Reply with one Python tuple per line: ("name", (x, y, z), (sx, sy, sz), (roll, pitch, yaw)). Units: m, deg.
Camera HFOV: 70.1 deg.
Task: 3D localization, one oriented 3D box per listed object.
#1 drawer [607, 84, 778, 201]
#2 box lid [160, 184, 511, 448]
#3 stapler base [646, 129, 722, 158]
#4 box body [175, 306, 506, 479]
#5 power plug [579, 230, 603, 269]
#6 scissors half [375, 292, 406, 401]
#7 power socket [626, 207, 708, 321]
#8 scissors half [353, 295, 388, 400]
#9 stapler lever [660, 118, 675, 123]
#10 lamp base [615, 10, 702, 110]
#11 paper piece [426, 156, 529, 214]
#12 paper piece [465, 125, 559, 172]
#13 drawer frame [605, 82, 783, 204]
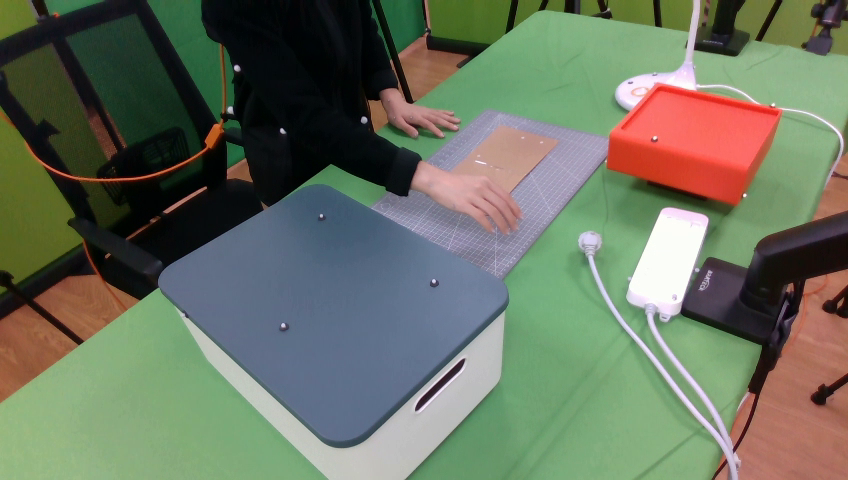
("drawer", (0.438, -0.167, 0.996), (0.210, 0.073, 0.195), (23, 48, 30))
("box lid", (-0.114, 0.054, 0.705), (0.368, 0.015, 0.264), (29, 51, 34))
("stapler base", (0.439, -0.167, 1.023), (0.131, 0.024, 0.041), (-17, 25, -15))
("box body", (-0.105, 0.111, 0.751), (0.361, 0.161, 0.255), (28, 52, 35))
("power plug", (0.246, 0.018, 0.909), (0.035, 0.053, 0.072), (16, 65, 21))
("scissors half", (-0.048, 0.139, 0.817), (0.040, 0.013, 0.174), (-3, 45, 8))
("power socket", (0.360, 0.026, 0.886), (0.072, 0.033, 0.227), (16, 46, 26))
("scissors half", (-0.068, 0.142, 0.818), (0.040, 0.013, 0.174), (-19, 44, -1))
("stapler lever", (0.436, -0.192, 1.014), (0.118, 0.040, 0.026), (-15, 24, -16))
("lamp base", (0.484, -0.364, 1.211), (0.180, 0.181, 0.159), (-15, 41, -14))
("paper piece", (0.097, -0.103, 1.090), (0.134, 0.004, 0.136), (24, 49, 31))
("paper piece", (0.172, -0.177, 1.167), (0.137, 0.009, 0.136), (21, 44, 31))
("drawer frame", (0.441, -0.167, 0.995), (0.212, 0.083, 0.202), (23, 48, 30))
